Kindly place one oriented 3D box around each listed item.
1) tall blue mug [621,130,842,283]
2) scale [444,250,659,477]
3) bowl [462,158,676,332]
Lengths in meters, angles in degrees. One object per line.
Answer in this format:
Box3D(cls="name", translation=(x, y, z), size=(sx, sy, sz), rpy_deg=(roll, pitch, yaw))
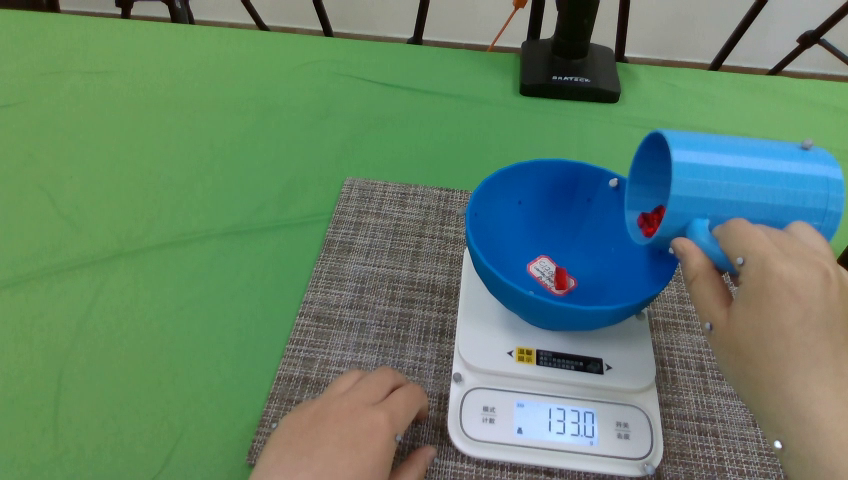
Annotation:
Box3D(cls="tall blue mug", translation=(0.196, -0.024, 0.383), size=(0.108, 0.078, 0.106), rpy_deg=(5, 13, -3))
Box3D(cls="scale", translation=(0.097, 0.075, 0.469), size=(0.148, 0.032, 0.199), rpy_deg=(6, 47, 3))
Box3D(cls="bowl", translation=(0.099, 0.016, 0.452), size=(0.151, 0.077, 0.150), rpy_deg=(2, 47, -2))
